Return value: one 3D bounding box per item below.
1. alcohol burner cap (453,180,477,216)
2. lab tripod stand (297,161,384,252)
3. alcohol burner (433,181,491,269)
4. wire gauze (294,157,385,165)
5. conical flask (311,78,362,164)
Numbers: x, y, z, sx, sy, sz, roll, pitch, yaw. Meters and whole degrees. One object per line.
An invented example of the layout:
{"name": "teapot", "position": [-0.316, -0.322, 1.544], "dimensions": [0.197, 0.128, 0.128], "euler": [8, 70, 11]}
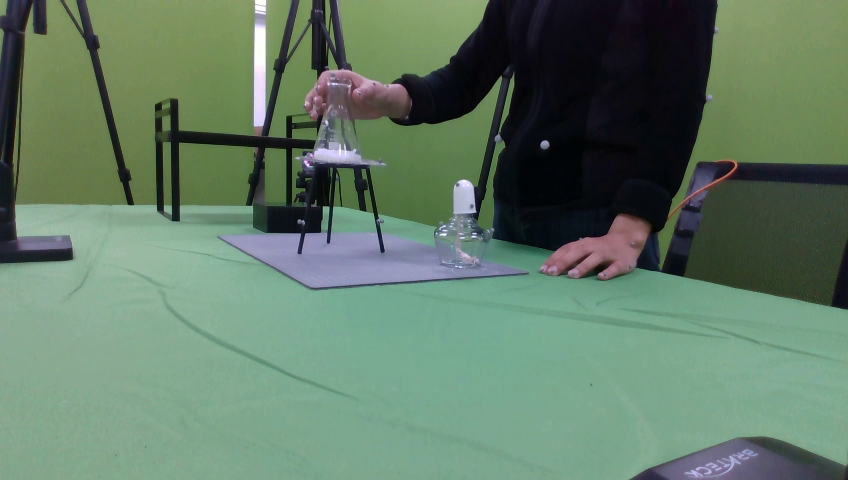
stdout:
{"name": "alcohol burner cap", "position": [0.054, -0.056, 0.811], "dimensions": [0.034, 0.048, 0.034], "euler": [-3, 6, 1]}
{"name": "lab tripod stand", "position": [-0.130, -0.051, 0.903], "dimensions": [0.148, 0.131, 0.148], "euler": [3, 9, 0]}
{"name": "alcohol burner", "position": [0.052, -0.021, 0.816], "dimensions": [0.078, 0.119, 0.078], "euler": [4, 7, 0]}
{"name": "wire gauze", "position": [-0.128, -0.117, 0.901], "dimensions": [0.125, 0.011, 0.121], "euler": [-2, 7, -14]}
{"name": "conical flask", "position": [-0.127, -0.174, 0.889], "dimensions": [0.075, 0.122, 0.075], "euler": [2, 9, 0]}
